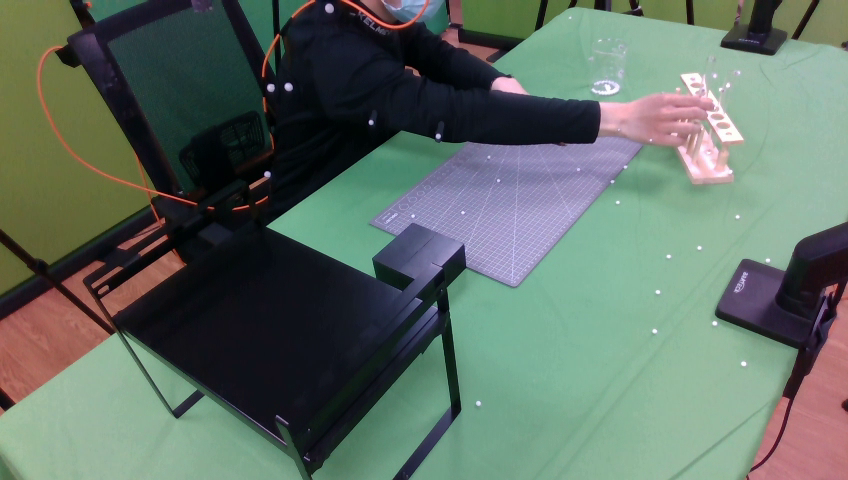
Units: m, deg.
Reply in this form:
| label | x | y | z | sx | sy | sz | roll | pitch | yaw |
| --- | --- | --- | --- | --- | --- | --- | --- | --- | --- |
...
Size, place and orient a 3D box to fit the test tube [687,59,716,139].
| label | x | y | z | sx | sy | sz | roll | pitch | yaw |
| --- | --- | --- | --- | --- | --- | --- | --- | --- | --- |
| test tube | 0.461 | -0.232 | 1.004 | 0.017 | 0.151 | 0.017 | -4 | 47 | 5 |

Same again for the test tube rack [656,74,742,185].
| label | x | y | z | sx | sy | sz | roll | pitch | yaw |
| --- | --- | --- | --- | --- | --- | --- | --- | --- | --- |
| test tube rack | 0.488 | -0.205 | 1.093 | 0.067 | 0.085 | 0.241 | -3 | 41 | 5 |

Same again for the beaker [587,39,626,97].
| label | x | y | z | sx | sy | sz | roll | pitch | yaw |
| --- | --- | --- | --- | --- | --- | --- | --- | --- | --- |
| beaker | 0.386 | -0.361 | 1.280 | 0.074 | 0.101 | 0.083 | -22 | 43 | -15 |

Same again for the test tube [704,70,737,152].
| label | x | y | z | sx | sy | sz | roll | pitch | yaw |
| --- | --- | --- | --- | --- | --- | --- | --- | --- | --- |
| test tube | 0.502 | -0.216 | 1.028 | 0.017 | 0.151 | 0.017 | -2 | 40 | 2 |
